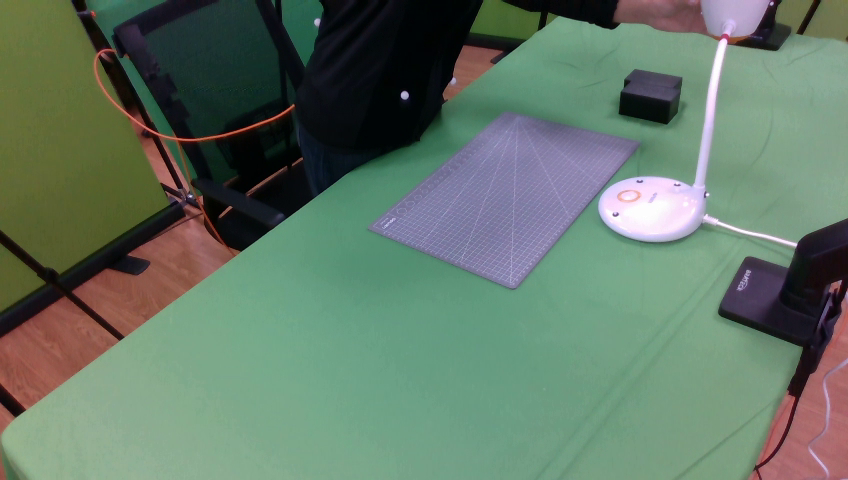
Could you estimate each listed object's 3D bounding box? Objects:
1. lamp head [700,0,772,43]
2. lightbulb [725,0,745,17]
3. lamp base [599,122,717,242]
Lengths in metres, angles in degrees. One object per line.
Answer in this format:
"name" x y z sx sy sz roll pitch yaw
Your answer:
"lamp head" 0.472 -0.363 0.916 0.112 0.123 0.112 -7 34 5
"lightbulb" 0.466 -0.388 0.906 0.059 0.108 0.059 -14 34 10
"lamp base" 0.367 -0.109 0.919 0.178 0.181 0.160 13 45 20
